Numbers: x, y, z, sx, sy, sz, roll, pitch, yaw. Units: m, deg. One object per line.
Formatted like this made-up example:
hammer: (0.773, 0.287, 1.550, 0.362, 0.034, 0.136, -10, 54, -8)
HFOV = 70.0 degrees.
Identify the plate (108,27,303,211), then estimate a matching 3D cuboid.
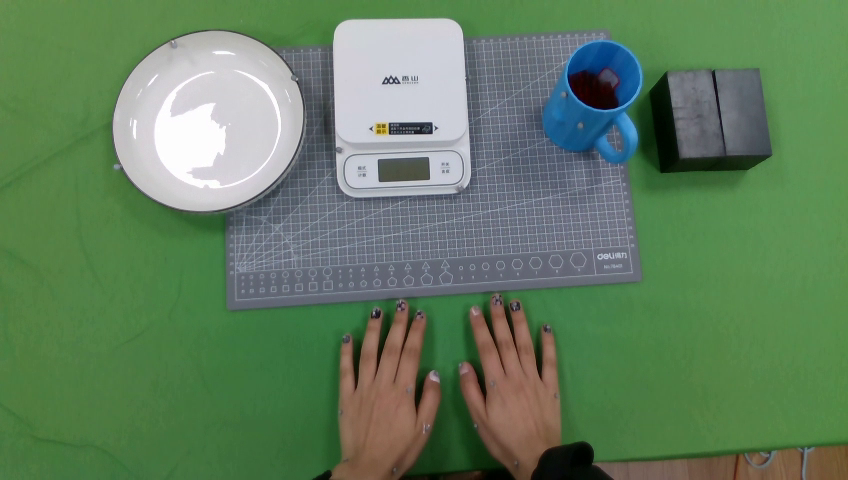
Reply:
plate: (-0.233, -0.130, 0.663, 0.209, 0.038, 0.208, 0, 80, 1)

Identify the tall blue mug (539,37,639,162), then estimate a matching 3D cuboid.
tall blue mug: (0.183, -0.143, 0.640, 0.107, 0.108, 0.077, 33, 80, 5)

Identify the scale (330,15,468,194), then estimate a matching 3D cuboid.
scale: (-0.029, -0.153, 0.675, 0.149, 0.031, 0.200, -2, 81, -1)
